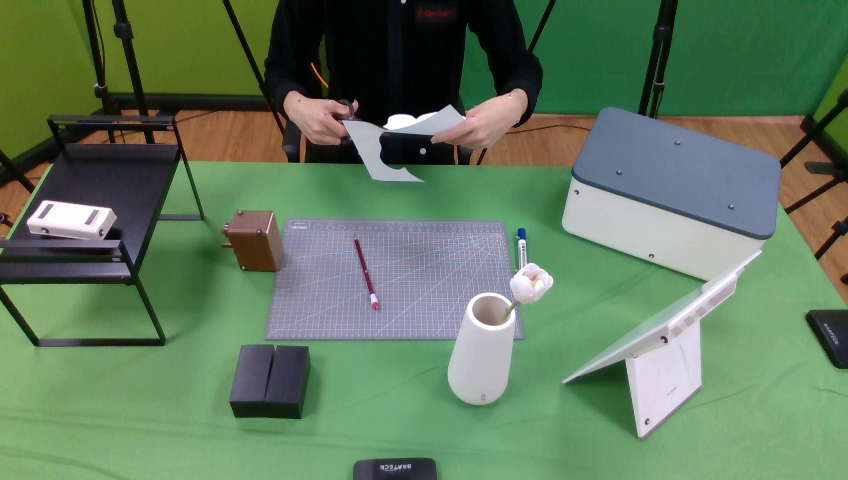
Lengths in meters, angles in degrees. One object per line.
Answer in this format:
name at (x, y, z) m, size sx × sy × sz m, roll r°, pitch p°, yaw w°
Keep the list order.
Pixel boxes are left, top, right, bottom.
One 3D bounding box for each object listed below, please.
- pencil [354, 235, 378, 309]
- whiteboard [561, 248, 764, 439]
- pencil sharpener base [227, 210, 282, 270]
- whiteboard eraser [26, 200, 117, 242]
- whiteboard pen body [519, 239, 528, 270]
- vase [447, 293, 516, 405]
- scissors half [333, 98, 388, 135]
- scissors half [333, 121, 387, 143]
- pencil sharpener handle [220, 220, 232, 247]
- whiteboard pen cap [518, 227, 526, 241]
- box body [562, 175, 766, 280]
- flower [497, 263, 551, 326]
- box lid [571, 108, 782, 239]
pencil at (-0.113, 0.055, 1.142) m, size 0.012 × 0.012 × 0.192 m, roll -10°, pitch 46°, yaw -13°
whiteboard at (0.386, 0.176, 0.905) m, size 0.217 × 0.306 × 0.143 m, roll -26°, pitch 72°, yaw -27°
pencil sharpener base at (-0.311, 0.001, 1.112) m, size 0.077 × 0.107 × 0.061 m, roll 1°, pitch 47°, yaw 1°
whiteboard eraser at (-0.532, -0.026, 0.919) m, size 0.113 × 0.042 × 0.055 m, roll 7°, pitch 45°, yaw 3°
whiteboard pen body at (0.193, 0.035, 1.181) m, size 0.017 × 0.017 × 0.140 m, roll 6°, pitch 48°, yaw 1°
vase at (0.091, 0.169, 0.921) m, size 0.098 × 0.201 × 0.097 m, roll 3°, pitch 47°, yaw -3°
scissors half at (-0.112, -0.212, 1.056) m, size 0.013 × 0.040 × 0.174 m, roll -14°, pitch 35°, yaw -35°
scissors half at (-0.114, -0.191, 1.062) m, size 0.013 × 0.040 × 0.174 m, roll -8°, pitch 10°, yaw -37°
pencil sharpener handle at (-0.362, -0.009, 1.105) m, size 0.030 × 0.068 × 0.036 m, roll 1°, pitch 53°, yaw 1°
whiteboard pen cap at (0.197, -0.009, 1.220) m, size 0.018 × 0.018 × 0.033 m, roll 5°, pitch 50°, yaw 1°
box body at (0.486, -0.088, 1.222) m, size 0.363 × 0.161 × 0.253 m, roll 20°, pitch 48°, yaw 15°
flower at (0.102, 0.121, 0.853) m, size 0.044 × 0.363 × 0.038 m, roll -2°, pitch 64°, yaw -10°
box lid at (0.491, -0.139, 1.168) m, size 0.370 × 0.015 × 0.262 m, roll 21°, pitch 49°, yaw 15°
